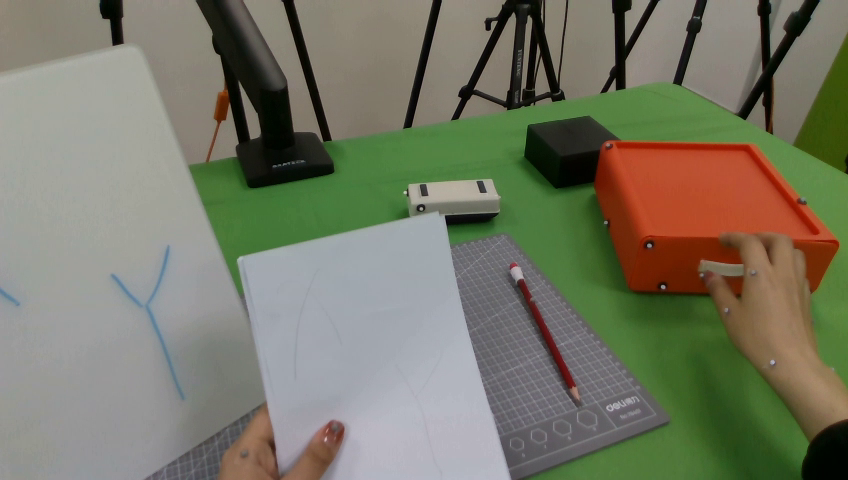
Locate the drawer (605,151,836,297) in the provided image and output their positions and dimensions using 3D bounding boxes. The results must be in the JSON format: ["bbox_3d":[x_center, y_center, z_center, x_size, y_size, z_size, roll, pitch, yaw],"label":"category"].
[{"bbox_3d":[0.319,-0.027,0.703,0.194,0.074,0.210,1,35,2],"label":"drawer"}]

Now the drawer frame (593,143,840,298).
[{"bbox_3d":[0.319,-0.030,0.705,0.202,0.083,0.211,0,35,1],"label":"drawer frame"}]

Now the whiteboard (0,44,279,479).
[{"bbox_3d":[-0.282,0.035,0.463,0.217,0.307,0.142,-30,26,-34],"label":"whiteboard"}]

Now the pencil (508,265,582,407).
[{"bbox_3d":[0.117,0.087,0.597,0.012,0.012,0.192,-7,38,-10],"label":"pencil"}]

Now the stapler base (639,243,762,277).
[{"bbox_3d":[0.307,0.019,0.669,0.130,0.024,0.041,0,50,-1],"label":"stapler base"}]

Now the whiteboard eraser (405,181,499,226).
[{"bbox_3d":[0.034,-0.045,0.758,0.113,0.042,0.055,-3,37,-6],"label":"whiteboard eraser"}]

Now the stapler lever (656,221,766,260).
[{"bbox_3d":[0.309,0.001,0.650,0.118,0.040,0.026,1,50,-2],"label":"stapler lever"}]

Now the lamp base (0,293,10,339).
[{"bbox_3d":[-0.492,0.028,0.526,0.178,0.182,0.160,10,37,17],"label":"lamp base"}]
